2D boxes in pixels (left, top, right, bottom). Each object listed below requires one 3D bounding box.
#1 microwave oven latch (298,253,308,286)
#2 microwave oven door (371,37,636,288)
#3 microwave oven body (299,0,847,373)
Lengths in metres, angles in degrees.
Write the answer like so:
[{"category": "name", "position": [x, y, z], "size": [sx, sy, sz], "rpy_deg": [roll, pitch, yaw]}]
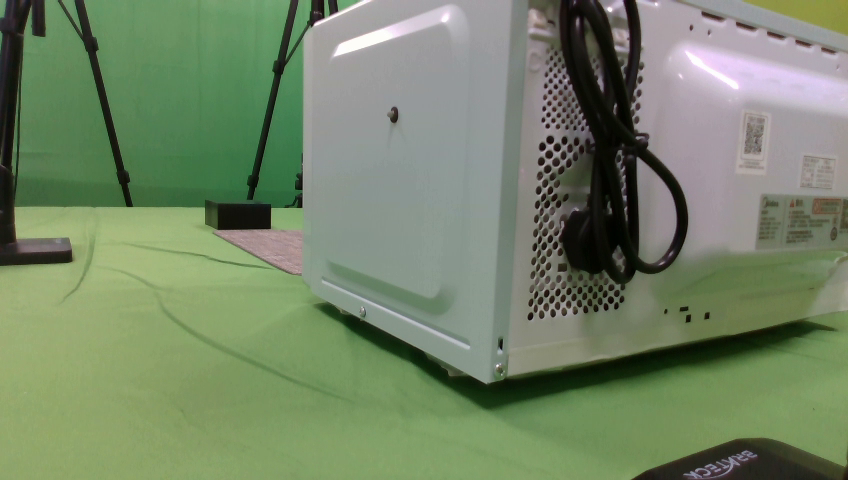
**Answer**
[{"category": "microwave oven latch", "position": [-0.081, 0.027, 0.583], "size": [0.079, 0.029, 0.030], "rpy_deg": [-2, 7, -32]}, {"category": "microwave oven door", "position": [0.109, -0.080, 0.687], "size": [0.358, 0.243, 0.039], "rpy_deg": [-2, 9, -33]}, {"category": "microwave oven body", "position": [0.151, -0.055, 0.542], "size": [0.444, 0.260, 0.324], "rpy_deg": [-2, 7, -33]}]
